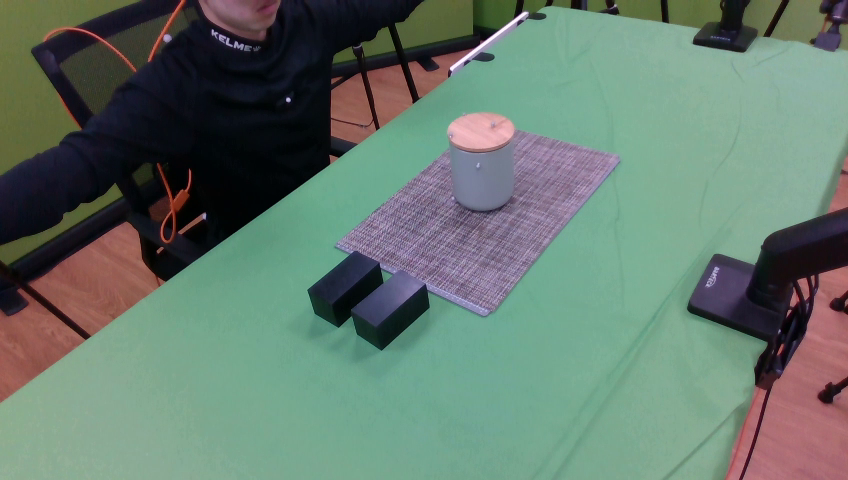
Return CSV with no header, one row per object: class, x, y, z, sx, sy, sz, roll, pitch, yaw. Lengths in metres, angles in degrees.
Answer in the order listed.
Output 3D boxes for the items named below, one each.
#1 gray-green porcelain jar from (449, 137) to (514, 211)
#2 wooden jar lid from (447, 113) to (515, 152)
gray-green porcelain jar,0.098,-0.120,1.008,0.106,0.127,0.105,-4,41,4
wooden jar lid,0.091,-0.169,0.968,0.108,0.021,0.108,-4,42,4
